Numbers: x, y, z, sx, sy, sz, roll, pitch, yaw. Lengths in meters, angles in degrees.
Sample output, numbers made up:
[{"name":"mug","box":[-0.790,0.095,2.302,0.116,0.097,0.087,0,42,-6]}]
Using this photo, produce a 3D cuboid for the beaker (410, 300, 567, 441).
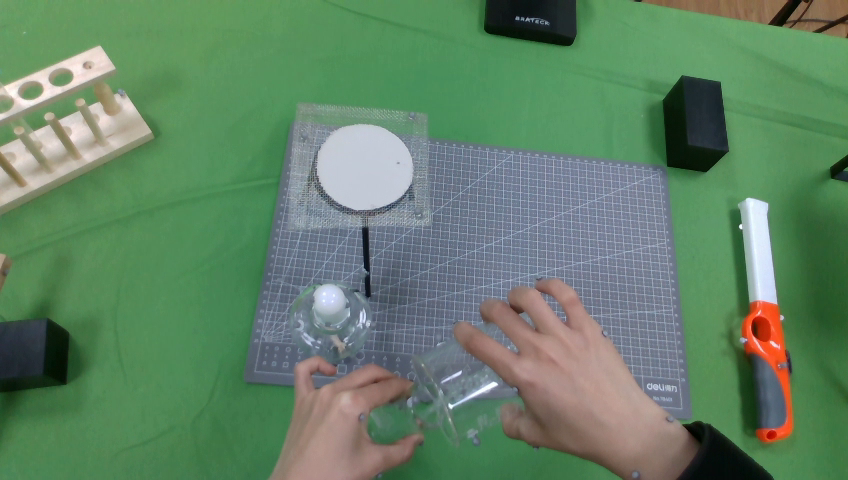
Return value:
[{"name":"beaker","box":[0.050,0.096,0.461,0.100,0.084,0.073,-24,71,-12]}]

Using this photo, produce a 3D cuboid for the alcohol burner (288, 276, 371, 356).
[{"name":"alcohol burner","box":[-0.087,0.065,0.558,0.078,0.119,0.077,4,66,-8]}]

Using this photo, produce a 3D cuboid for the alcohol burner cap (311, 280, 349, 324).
[{"name":"alcohol burner cap","box":[-0.083,0.052,0.525,0.034,0.048,0.033,1,70,-3]}]

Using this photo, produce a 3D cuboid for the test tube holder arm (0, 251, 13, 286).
[{"name":"test tube holder arm","box":[-0.382,0.052,0.527,0.010,0.015,0.087,9,66,-3]}]

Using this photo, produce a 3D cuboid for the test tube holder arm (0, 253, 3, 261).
[{"name":"test tube holder arm","box":[-0.393,0.091,0.508,0.013,0.015,0.177,9,66,-4]}]

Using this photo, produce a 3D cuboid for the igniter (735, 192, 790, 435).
[{"name":"igniter","box":[0.369,0.074,0.665,0.057,0.025,0.274,13,66,-13]}]

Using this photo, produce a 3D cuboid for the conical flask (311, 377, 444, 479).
[{"name":"conical flask","box":[-0.035,0.155,0.517,0.076,0.122,0.074,27,44,-30]}]

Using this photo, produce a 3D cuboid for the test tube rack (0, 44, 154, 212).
[{"name":"test tube rack","box":[-0.408,-0.094,0.600,0.242,0.085,0.066,-33,75,-19]}]

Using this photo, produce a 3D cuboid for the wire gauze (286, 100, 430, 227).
[{"name":"wire gauze","box":[-0.057,-0.068,0.534,0.122,0.011,0.124,1,69,-7]}]

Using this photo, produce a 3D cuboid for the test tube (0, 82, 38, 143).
[{"name":"test tube","box":[-0.399,-0.137,0.566,0.017,0.151,0.017,4,62,-7]}]

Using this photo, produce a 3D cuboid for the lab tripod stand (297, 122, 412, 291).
[{"name":"lab tripod stand","box":[-0.061,-0.038,0.594,0.149,0.132,0.147,3,68,-8]}]
